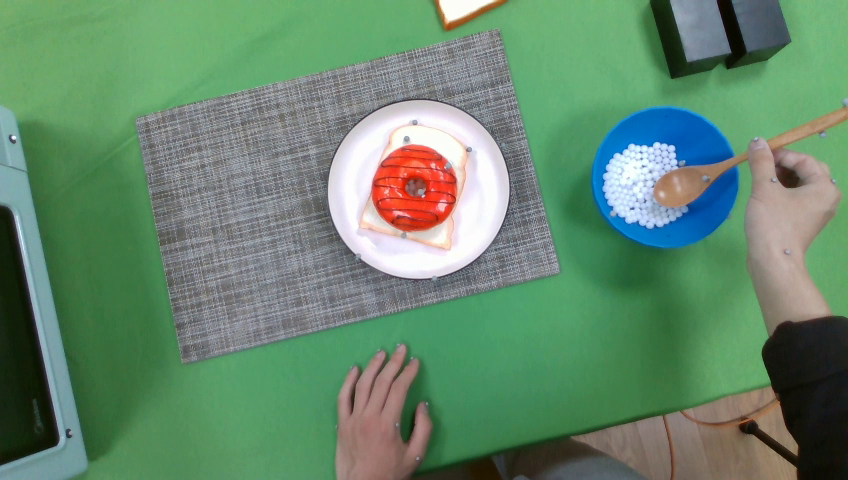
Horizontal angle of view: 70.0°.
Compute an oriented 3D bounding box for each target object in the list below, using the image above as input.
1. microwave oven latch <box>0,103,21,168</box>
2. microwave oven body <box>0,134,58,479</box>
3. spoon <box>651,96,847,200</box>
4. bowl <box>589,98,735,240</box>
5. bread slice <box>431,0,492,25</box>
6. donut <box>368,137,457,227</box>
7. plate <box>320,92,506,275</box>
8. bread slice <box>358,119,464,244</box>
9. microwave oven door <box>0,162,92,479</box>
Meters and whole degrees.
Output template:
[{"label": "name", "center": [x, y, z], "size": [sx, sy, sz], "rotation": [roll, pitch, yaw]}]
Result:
[{"label": "microwave oven latch", "center": [-0.495, -0.121, 0.701], "size": [0.030, 0.029, 0.079], "rotation": [-15, 86, 0]}, {"label": "microwave oven body", "center": [-0.595, 0.079, 0.593], "size": [0.326, 0.260, 0.440], "rotation": [-16, 86, 0]}, {"label": "spoon", "center": [0.313, -0.088, 0.597], "size": [0.022, 0.193, 0.041], "rotation": [-1, 71, -39]}, {"label": "bowl", "center": [0.249, -0.070, 0.667], "size": [0.151, 0.077, 0.151], "rotation": [0, 85, 2]}, {"label": "bread slice", "center": [0.037, -0.337, 0.726], "size": [0.105, 0.019, 0.131], "rotation": [-28, 86, -1]}, {"label": "donut", "center": [-0.013, -0.064, 0.665], "size": [0.099, 0.048, 0.099], "rotation": [0, 86, 3]}, {"label": "plate", "center": [-0.012, -0.063, 0.692], "size": [0.207, 0.039, 0.207], "rotation": [0, 86, 2]}, {"label": "bread slice", "center": [-0.011, -0.070, 0.694], "size": [0.107, 0.018, 0.134], "rotation": [11, 86, 3]}, {"label": "microwave oven door", "center": [-0.443, 0.080, 0.582], "size": [0.039, 0.244, 0.355], "rotation": [-16, 85, 1]}]
